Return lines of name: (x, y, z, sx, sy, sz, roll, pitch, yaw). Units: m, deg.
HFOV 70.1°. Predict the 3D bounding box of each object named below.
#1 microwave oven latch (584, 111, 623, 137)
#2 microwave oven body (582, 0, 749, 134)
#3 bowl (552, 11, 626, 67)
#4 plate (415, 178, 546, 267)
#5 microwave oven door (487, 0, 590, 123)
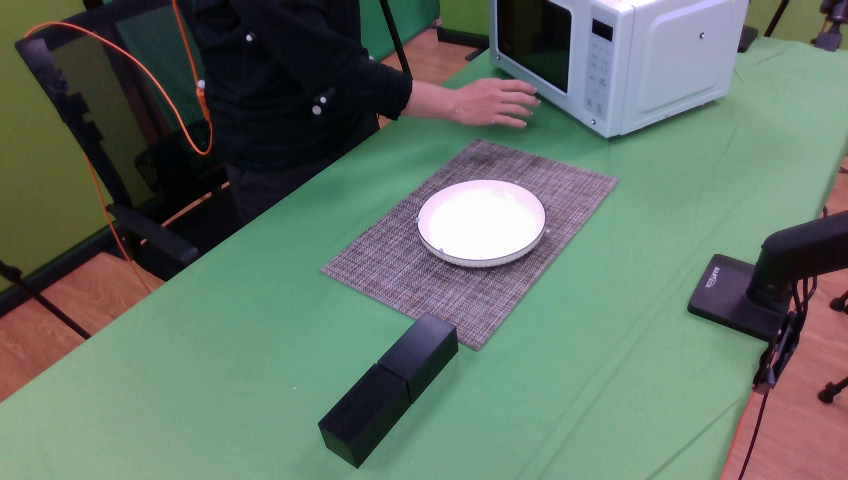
microwave oven latch: (0.337, -0.222, 1.142, 0.030, 0.029, 0.078, -21, 42, -14)
microwave oven body: (0.382, -0.444, 1.246, 0.327, 0.261, 0.437, -22, 42, -16)
bowl: (0.343, -0.418, 1.278, 0.151, 0.077, 0.150, -1, 41, 1)
plate: (0.091, -0.026, 0.970, 0.207, 0.039, 0.206, -4, 41, 4)
microwave oven door: (0.232, -0.420, 1.231, 0.039, 0.245, 0.352, -22, 43, -16)
